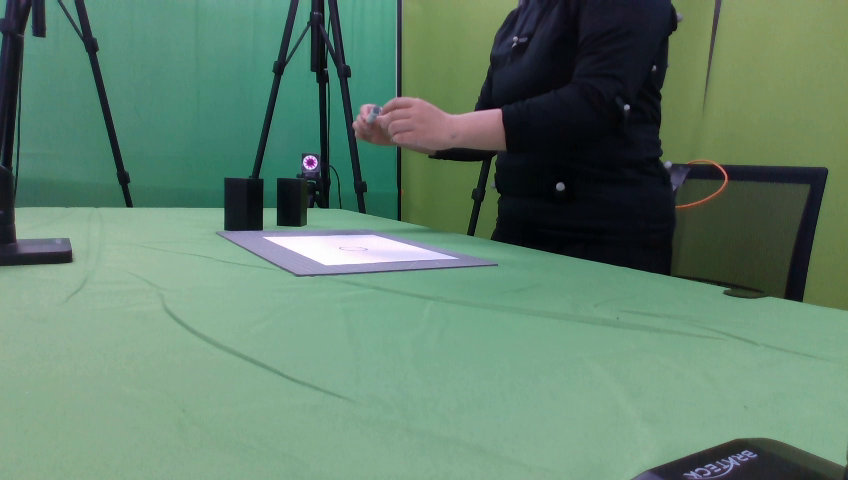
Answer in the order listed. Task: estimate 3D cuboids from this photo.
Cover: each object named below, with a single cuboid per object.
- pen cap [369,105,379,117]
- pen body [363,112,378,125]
[{"bbox_3d":[-0.092,-0.239,1.119,0.017,0.017,0.038,1,1,-12],"label":"pen cap"},{"bbox_3d":[-0.103,-0.243,1.183,0.017,0.017,0.144,1,1,-12],"label":"pen body"}]
